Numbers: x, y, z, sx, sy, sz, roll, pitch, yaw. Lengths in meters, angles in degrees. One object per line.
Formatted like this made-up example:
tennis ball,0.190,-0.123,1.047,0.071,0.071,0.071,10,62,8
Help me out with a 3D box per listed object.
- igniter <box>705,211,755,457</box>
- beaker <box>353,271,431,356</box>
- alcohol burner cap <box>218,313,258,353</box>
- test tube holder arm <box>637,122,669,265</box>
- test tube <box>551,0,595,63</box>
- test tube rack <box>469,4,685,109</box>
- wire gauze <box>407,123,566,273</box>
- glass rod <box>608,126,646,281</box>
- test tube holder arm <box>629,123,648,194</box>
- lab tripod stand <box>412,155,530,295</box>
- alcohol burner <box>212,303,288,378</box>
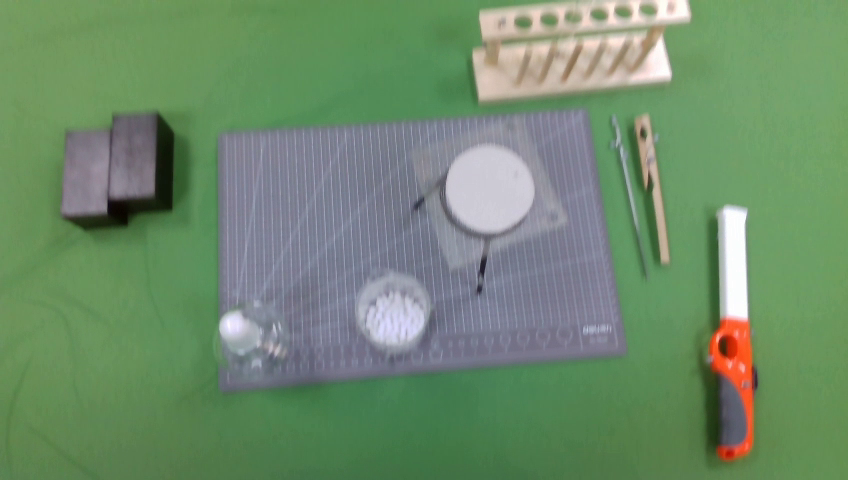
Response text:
igniter,0.343,0.101,0.682,0.057,0.025,0.275,9,74,-10
beaker,-0.035,0.080,0.633,0.074,0.101,0.083,-26,76,-9
alcohol burner cap,-0.181,0.087,0.581,0.034,0.048,0.033,1,64,-2
test tube holder arm,0.273,-0.057,0.725,0.013,0.015,0.177,-14,73,29
test tube,0.171,-0.247,0.689,0.017,0.151,0.017,2,73,-6
test tube rack,0.182,-0.220,0.733,0.242,0.085,0.066,-7,74,-4
wire gauze,0.058,-0.045,0.583,0.121,0.011,0.124,-19,76,-6
glass rod,0.242,-0.047,0.728,0.008,0.008,0.198,-6,75,-4
test tube holder arm,0.264,-0.099,0.739,0.010,0.015,0.087,-14,73,29
lab tripod stand,0.053,-0.024,0.647,0.148,0.132,0.147,0,75,0
alcohol burner,-0.181,0.099,0.615,0.078,0.120,0.077,0,72,-1
